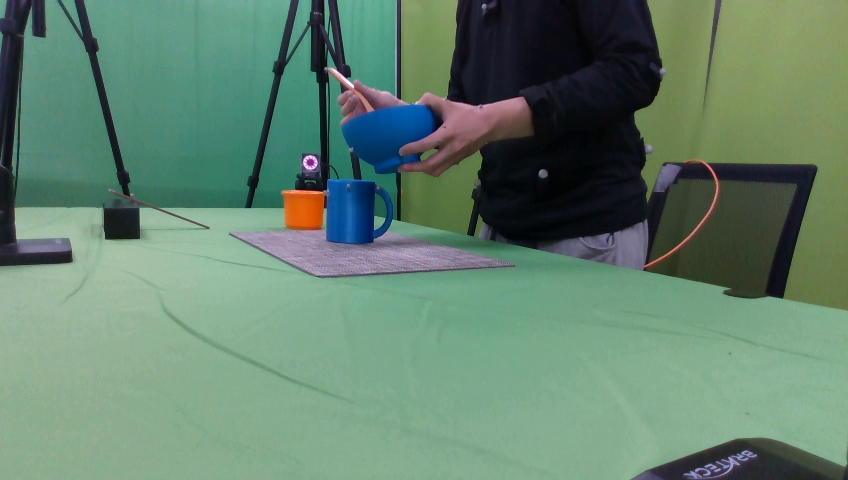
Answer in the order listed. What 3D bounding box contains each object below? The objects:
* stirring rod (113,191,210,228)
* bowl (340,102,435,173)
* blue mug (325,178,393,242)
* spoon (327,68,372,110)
[{"bbox_3d":[-0.484,-0.055,1.121,0.177,0.006,0.014,22,-7,-22],"label":"stirring rod"},{"bbox_3d":[-0.049,-0.152,0.941,0.151,0.076,0.151,-12,-3,0],"label":"bowl"},{"bbox_3d":[-0.111,-0.052,1.034,0.116,0.106,0.082,3,7,7],"label":"blue mug"},{"bbox_3d":[-0.106,-0.235,1.017,0.042,0.021,0.193,-21,62,-37],"label":"spoon"}]
